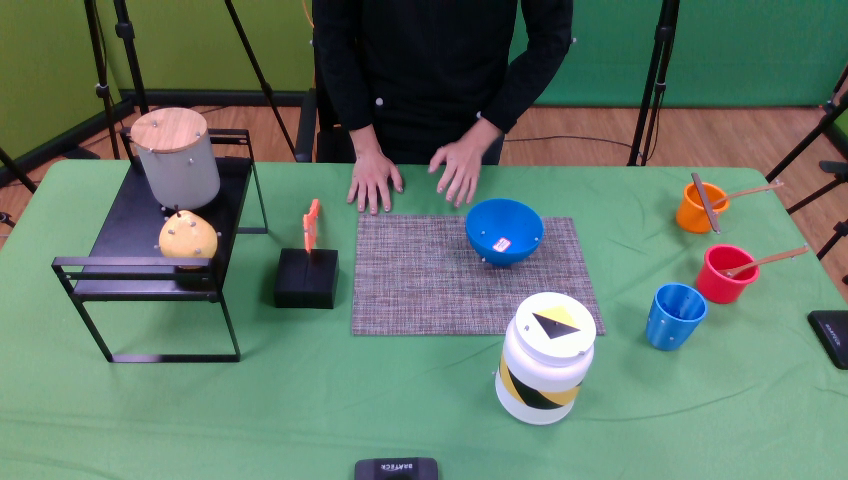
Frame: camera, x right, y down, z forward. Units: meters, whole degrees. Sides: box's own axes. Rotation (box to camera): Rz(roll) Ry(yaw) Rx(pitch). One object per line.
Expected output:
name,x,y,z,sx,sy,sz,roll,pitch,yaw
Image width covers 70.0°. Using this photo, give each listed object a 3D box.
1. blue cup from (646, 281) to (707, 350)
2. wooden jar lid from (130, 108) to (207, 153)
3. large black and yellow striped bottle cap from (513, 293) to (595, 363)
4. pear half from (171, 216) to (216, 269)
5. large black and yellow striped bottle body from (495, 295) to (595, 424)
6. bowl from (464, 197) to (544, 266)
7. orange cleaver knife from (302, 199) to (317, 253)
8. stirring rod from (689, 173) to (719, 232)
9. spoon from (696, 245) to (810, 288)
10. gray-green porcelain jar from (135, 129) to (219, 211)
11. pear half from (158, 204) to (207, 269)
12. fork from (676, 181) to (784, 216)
blue cup,0.425,0.136,1.042,0.092,0.101,0.092,1,44,-1
wooden jar lid,-0.384,-0.162,0.914,0.108,0.021,0.107,4,46,-4
large black and yellow striped bottle cap,0.186,0.123,0.863,0.115,0.019,0.114,3,45,-3
pear half,-0.323,0.007,0.867,0.031,0.088,0.070,25,46,20
large black and yellow striped bottle body,0.183,0.182,0.923,0.131,0.185,0.130,2,46,-2
bowl,0.149,-0.004,1.168,0.151,0.077,0.150,2,46,-2
orange cleaver knife,-0.219,-0.031,1.168,0.012,0.077,0.210,-5,17,-3
stirring rod,0.566,-0.079,1.225,0.014,0.006,0.175,2,45,2
spoon,0.601,0.047,1.114,0.193,0.022,0.041,-27,36,33
gray-green porcelain jar,-0.386,-0.118,0.959,0.106,0.127,0.105,2,46,-2
pear half,-0.352,-0.015,0.873,0.056,0.110,0.076,25,45,19
fork,0.618,-0.084,1.235,0.207,0.019,0.028,-23,20,38
